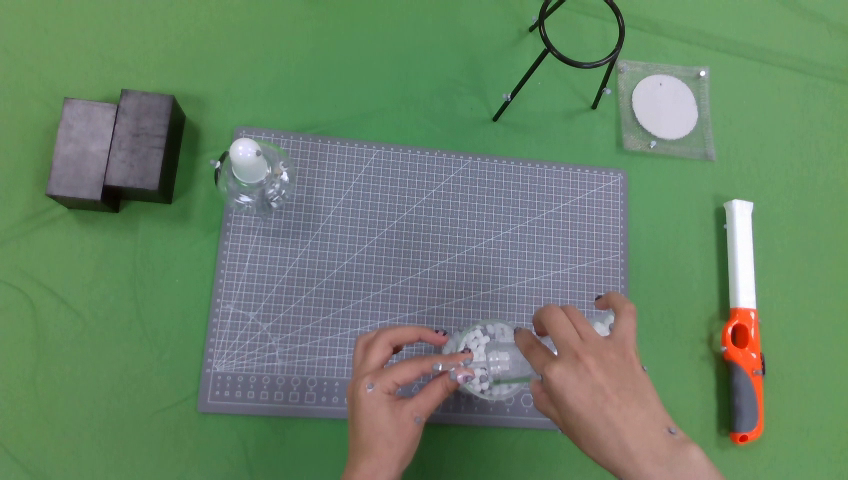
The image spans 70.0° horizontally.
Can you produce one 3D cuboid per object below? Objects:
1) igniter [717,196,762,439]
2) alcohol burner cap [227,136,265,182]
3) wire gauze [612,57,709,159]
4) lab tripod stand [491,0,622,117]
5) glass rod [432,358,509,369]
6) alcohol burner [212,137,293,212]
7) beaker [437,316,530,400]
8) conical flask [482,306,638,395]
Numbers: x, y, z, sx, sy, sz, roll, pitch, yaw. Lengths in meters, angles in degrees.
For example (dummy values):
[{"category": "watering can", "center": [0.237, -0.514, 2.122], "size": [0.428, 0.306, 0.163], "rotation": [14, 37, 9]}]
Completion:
[{"category": "igniter", "center": [0.360, 0.085, 0.695], "size": [0.057, 0.025, 0.275], "rotation": [8, 78, -19]}, {"category": "alcohol burner cap", "center": [-0.166, -0.078, 0.559], "size": [0.034, 0.048, 0.033], "rotation": [3, 71, -10]}, {"category": "wire gauze", "center": [0.292, -0.164, 0.743], "size": [0.125, 0.011, 0.121], "rotation": [4, 79, -10]}, {"category": "lab tripod stand", "center": [0.143, -0.200, 0.662], "size": [0.149, 0.131, 0.148], "rotation": [1, 81, -8]}, {"category": "glass rod", "center": [0.047, 0.108, 0.532], "size": [0.008, 0.201, 0.008], "rotation": [-4, 79, 23]}, {"category": "alcohol burner", "center": [-0.170, -0.069, 0.594], "size": [0.078, 0.119, 0.077], "rotation": [1, 79, -6]}, {"category": "beaker", "center": [0.057, 0.115, 0.602], "size": [0.084, 0.100, 0.074], "rotation": [-38, 87, -14]}, {"category": "conical flask", "center": [0.112, 0.099, 0.515], "size": [0.122, 0.075, 0.075], "rotation": [-6, 79, 2]}]
